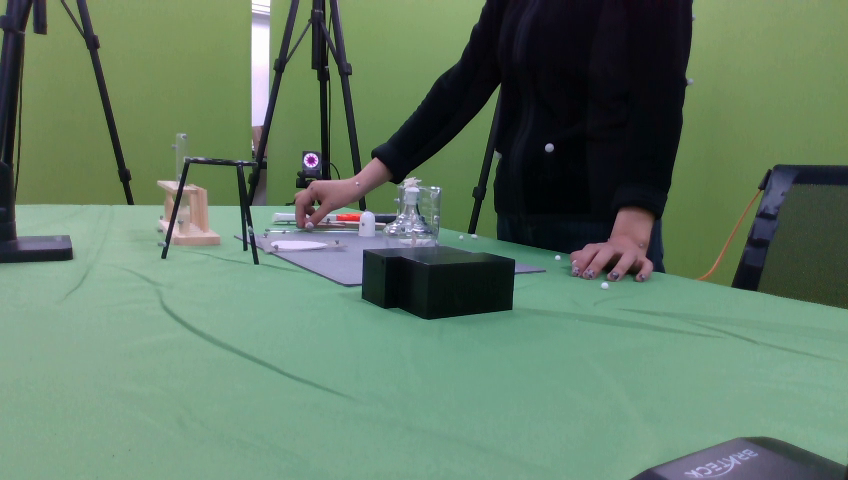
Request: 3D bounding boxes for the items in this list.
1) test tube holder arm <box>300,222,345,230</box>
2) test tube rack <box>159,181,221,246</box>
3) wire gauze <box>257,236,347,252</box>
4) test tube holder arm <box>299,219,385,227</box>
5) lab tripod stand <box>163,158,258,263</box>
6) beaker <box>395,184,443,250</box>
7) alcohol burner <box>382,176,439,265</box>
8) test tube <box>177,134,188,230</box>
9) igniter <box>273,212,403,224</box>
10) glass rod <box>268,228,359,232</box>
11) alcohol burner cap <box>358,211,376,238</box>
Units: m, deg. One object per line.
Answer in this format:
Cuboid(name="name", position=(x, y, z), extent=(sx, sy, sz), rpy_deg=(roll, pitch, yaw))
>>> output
Cuboid(name="test tube holder arm", position=(-0.196, -0.027, 1.171), extent=(0.088, 0.015, 0.010), rpy_deg=(-2, 46, -30))
Cuboid(name="test tube rack", position=(-0.395, -0.050, 1.010), extent=(0.067, 0.085, 0.241), rpy_deg=(-2, 8, -28))
Cuboid(name="wire gauze", position=(-0.189, 0.005, 0.931), extent=(0.122, 0.011, 0.124), rpy_deg=(1, 7, -21))
Cuboid(name="test tube holder arm", position=(-0.159, -0.033, 1.197), extent=(0.179, 0.015, 0.013), rpy_deg=(-2, 46, -30))
Cuboid(name="lab tripod stand", position=(-0.265, -0.041, 0.802), extent=(0.148, 0.131, 0.148), rpy_deg=(4, 7, 0))
Cuboid(name="beaker", position=(-0.007, -0.037, 0.965), extent=(0.074, 0.100, 0.083), rpy_deg=(-4, 11, -40))
Cuboid(name="alcohol burner", position=(-0.018, -0.026, 0.818), extent=(0.078, 0.119, 0.078), rpy_deg=(3, 9, 0))
Cuboid(name="test tube", position=(-0.374, -0.089, 0.938), extent=(0.017, 0.150, 0.017), rpy_deg=(2, 4, 0))
Cuboid(name="igniter", position=(-0.179, -0.048, 1.290), extent=(0.278, 0.025, 0.057), rpy_deg=(-1, -2, -24))
Cuboid(name="glass rod", position=(-0.193, -0.018, 1.128), extent=(0.201, 0.008, 0.008), rpy_deg=(0, 7, -35))
Cuboid(name="alcohol burner cap", position=(-0.104, -0.030, 1.098), extent=(0.034, 0.048, 0.034), rpy_deg=(3, 8, 0))
